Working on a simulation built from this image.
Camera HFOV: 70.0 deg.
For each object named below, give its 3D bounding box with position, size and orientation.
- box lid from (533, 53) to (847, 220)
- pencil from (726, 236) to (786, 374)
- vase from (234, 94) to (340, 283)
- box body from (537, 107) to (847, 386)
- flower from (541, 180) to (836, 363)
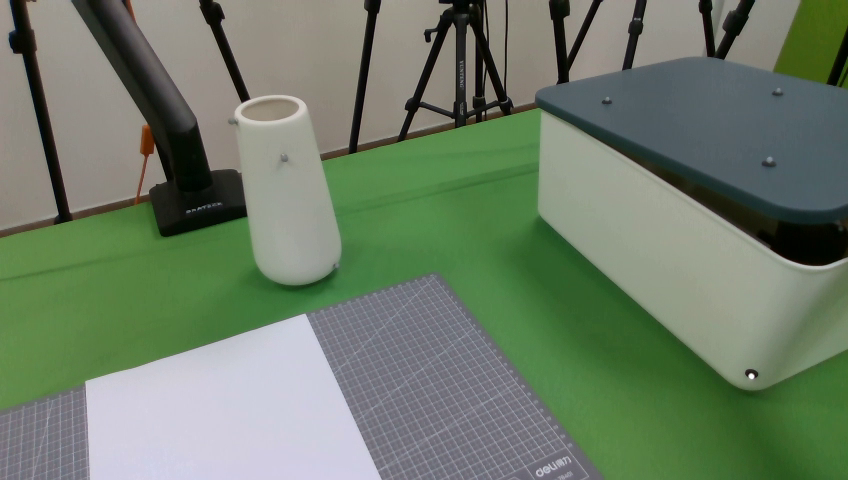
[{"bbox_3d":[0.306,-0.123,0.593,0.264,0.015,0.367,-17,32,-17],"label":"box lid"},{"bbox_3d":[0.351,0.062,0.644,0.012,0.012,0.192,2,42,5],"label":"pencil"},{"bbox_3d":[-0.148,-0.051,0.650,0.098,0.202,0.097,-2,36,2],"label":"vase"},{"bbox_3d":[0.316,-0.041,0.655,0.255,0.162,0.360,-17,39,-20],"label":"box body"},{"bbox_3d":[0.282,0.027,0.687,0.358,0.038,0.044,36,14,30],"label":"flower"}]
